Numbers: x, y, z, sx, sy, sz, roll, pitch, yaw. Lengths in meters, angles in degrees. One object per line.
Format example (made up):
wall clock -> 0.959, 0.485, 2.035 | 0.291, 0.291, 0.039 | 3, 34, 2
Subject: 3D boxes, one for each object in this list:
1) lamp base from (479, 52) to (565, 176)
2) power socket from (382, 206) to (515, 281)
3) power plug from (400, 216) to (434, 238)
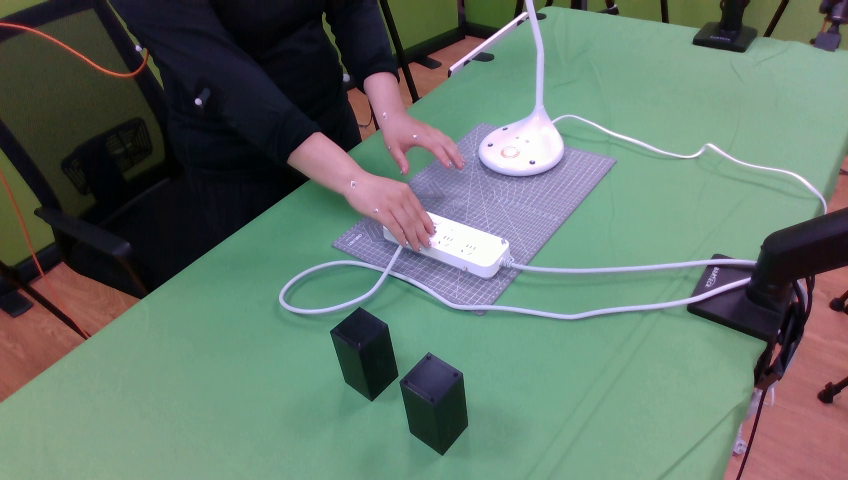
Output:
lamp base -> 0.181, -0.235, 1.094 | 0.159, 0.181, 0.179 | 18, 44, 27
power socket -> 0.032, 0.002, 0.950 | 0.225, 0.033, 0.072 | 21, 49, 29
power plug -> -0.016, -0.009, 0.936 | 0.073, 0.053, 0.035 | -29, 42, -30
